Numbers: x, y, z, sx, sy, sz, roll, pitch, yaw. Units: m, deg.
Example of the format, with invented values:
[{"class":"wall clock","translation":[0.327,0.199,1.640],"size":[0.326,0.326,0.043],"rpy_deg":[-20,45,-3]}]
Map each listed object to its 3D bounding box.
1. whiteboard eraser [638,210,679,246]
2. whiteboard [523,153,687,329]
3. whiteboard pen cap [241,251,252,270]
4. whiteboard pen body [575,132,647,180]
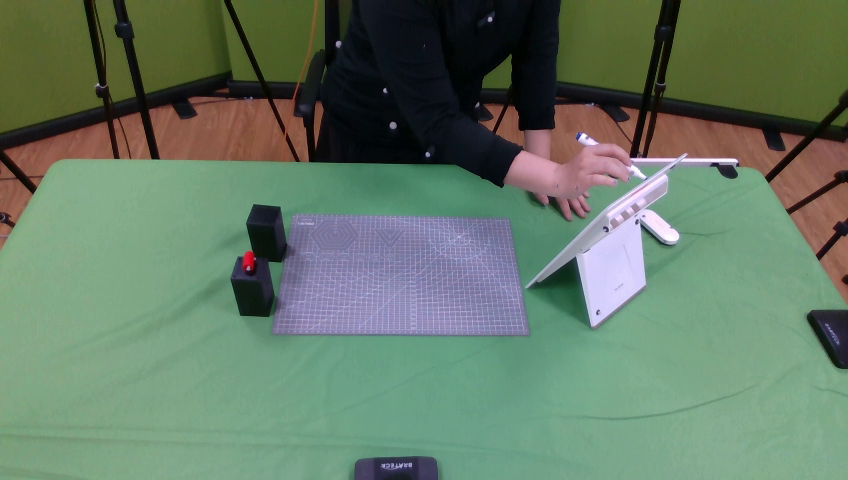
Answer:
[{"class":"whiteboard eraser","translation":[0.486,-0.026,1.260],"size":[0.041,0.019,0.100],"rpy_deg":[-20,50,-20]},{"class":"whiteboard","translation":[0.347,0.025,1.046],"size":[0.217,0.306,0.143],"rpy_deg":[-30,74,-29]},{"class":"whiteboard pen cap","translation":[-0.293,0.033,1.006],"size":[0.017,0.017,0.032],"rpy_deg":[-3,44,-7]},{"class":"whiteboard pen body","translation":[0.312,-0.137,1.004],"size":[0.140,0.017,0.017],"rpy_deg":[36,52,11]}]
